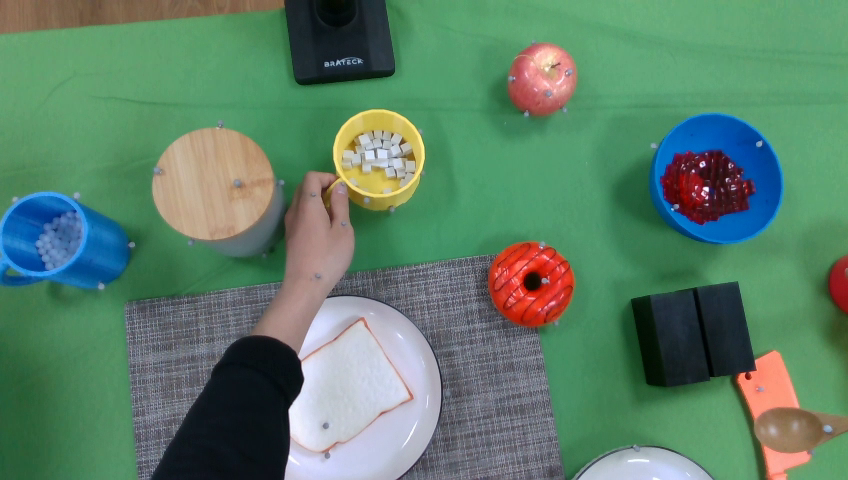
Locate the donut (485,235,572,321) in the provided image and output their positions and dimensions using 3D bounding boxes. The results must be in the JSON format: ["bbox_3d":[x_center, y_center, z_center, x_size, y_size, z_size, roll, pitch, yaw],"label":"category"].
[{"bbox_3d":[0.117,0.042,0.684,0.099,0.048,0.098,1,82,-6],"label":"donut"}]

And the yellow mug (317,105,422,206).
[{"bbox_3d":[-0.066,-0.084,0.679,0.131,0.064,0.100,-39,86,-9],"label":"yellow mug"}]

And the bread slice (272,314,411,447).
[{"bbox_3d":[-0.094,0.158,0.650,0.131,0.019,0.104,-34,85,-10],"label":"bread slice"}]

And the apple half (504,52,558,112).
[{"bbox_3d":[0.116,-0.174,0.705,0.033,0.081,0.081,-41,86,-15],"label":"apple half"}]

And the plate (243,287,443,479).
[{"bbox_3d":[-0.085,0.156,0.650,0.208,0.039,0.207,1,81,-5],"label":"plate"}]

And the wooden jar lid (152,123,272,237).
[{"bbox_3d":[-0.197,-0.055,0.568,0.108,0.021,0.108,1,79,-4],"label":"wooden jar lid"}]

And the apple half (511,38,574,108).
[{"bbox_3d":[0.144,-0.200,0.714,0.053,0.075,0.080,-40,82,-16],"label":"apple half"}]

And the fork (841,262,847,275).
[{"bbox_3d":[0.492,0.037,0.672,0.209,0.018,0.028,8,77,-46],"label":"fork"}]

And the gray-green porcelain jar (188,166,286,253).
[{"bbox_3d":[-0.202,-0.044,0.629,0.106,0.127,0.105,1,80,-5],"label":"gray-green porcelain jar"}]

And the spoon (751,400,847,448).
[{"bbox_3d":[0.376,0.143,0.496,0.193,0.022,0.041,-17,53,30],"label":"spoon"}]

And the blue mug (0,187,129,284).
[{"bbox_3d":[-0.376,0.007,0.614,0.116,0.106,0.082,-33,85,-9],"label":"blue mug"}]

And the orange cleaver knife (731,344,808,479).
[{"bbox_3d":[0.407,0.229,0.699,0.077,0.012,0.210,-6,80,-13],"label":"orange cleaver knife"}]

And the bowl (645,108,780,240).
[{"bbox_3d":[0.320,-0.069,0.707,0.151,0.077,0.151,1,81,-5],"label":"bowl"}]

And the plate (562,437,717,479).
[{"bbox_3d":[0.232,0.320,0.658,0.209,0.038,0.208,1,81,-5],"label":"plate"}]
